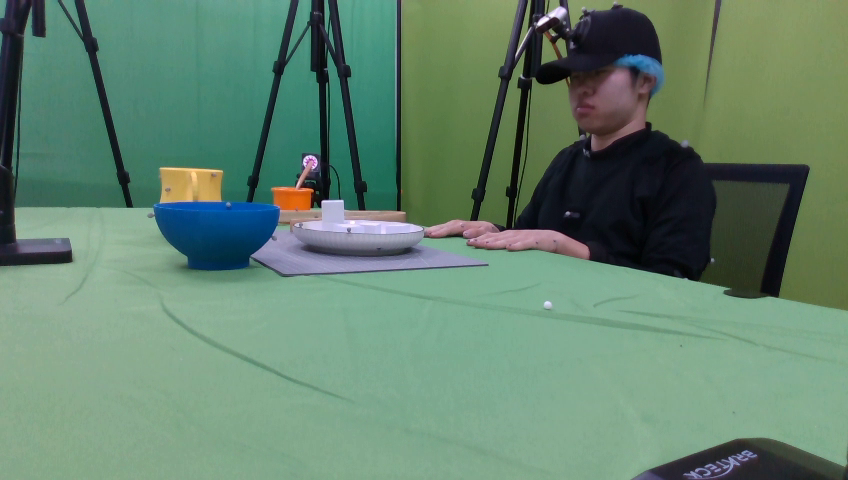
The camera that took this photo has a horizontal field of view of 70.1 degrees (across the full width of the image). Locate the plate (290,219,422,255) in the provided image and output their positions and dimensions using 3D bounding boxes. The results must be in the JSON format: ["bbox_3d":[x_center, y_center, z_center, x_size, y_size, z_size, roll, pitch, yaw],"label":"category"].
[{"bbox_3d":[-0.108,-0.005,0.963,0.208,0.039,0.207,3,7,0],"label":"plate"}]

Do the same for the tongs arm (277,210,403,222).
[{"bbox_3d":[-0.206,-0.052,1.332,0.387,0.026,0.050,-2,7,-44],"label":"tongs arm"}]

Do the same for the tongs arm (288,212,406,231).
[{"bbox_3d":[-0.145,-0.041,1.280,0.028,0.028,0.389,2,5,33],"label":"tongs arm"}]

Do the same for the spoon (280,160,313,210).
[{"bbox_3d":[-0.286,-0.118,1.372,0.041,0.193,0.022,3,-37,18],"label":"spoon"}]

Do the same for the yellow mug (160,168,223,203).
[{"bbox_3d":[-0.387,-0.086,1.016,0.100,0.064,0.130,-1,9,-25],"label":"yellow mug"}]

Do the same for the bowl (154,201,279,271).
[{"bbox_3d":[-0.263,-0.005,0.773,0.151,0.077,0.151,3,8,0],"label":"bowl"}]
